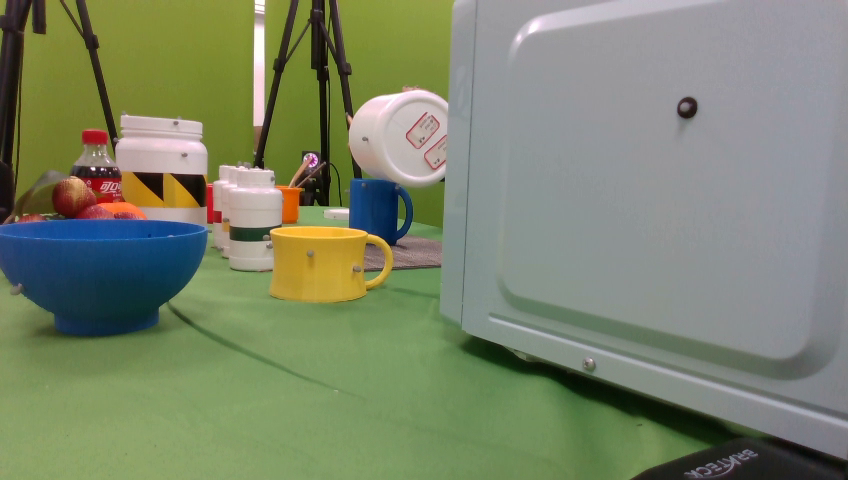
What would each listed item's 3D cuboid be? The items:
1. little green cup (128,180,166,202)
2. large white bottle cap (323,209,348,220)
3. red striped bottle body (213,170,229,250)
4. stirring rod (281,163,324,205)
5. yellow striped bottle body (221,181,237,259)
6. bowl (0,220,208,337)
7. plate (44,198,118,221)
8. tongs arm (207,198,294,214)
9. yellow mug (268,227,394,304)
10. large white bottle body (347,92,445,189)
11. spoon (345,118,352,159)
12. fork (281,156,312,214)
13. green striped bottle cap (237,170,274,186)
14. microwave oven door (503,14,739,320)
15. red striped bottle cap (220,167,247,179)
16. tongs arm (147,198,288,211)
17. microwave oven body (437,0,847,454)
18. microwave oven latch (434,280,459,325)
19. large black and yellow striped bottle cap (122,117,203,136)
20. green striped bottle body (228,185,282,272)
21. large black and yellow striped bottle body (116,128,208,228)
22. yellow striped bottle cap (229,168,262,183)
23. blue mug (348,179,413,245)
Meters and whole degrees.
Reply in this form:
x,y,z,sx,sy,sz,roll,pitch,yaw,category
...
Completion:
x,y,z,sx,sy,sz,roll,pitch,yaw,category
-0.485,-0.087,1.062,0.061,0.038,0.061,-1,6,0,little green cup
-0.184,-0.062,1.450,0.115,0.018,0.115,2,8,0,large white bottle cap
-0.283,-0.047,0.909,0.063,0.119,0.063,3,14,0,red striped bottle body
-0.278,-0.105,1.293,0.176,0.006,0.014,-47,25,-18,stirring rod
-0.244,-0.035,0.823,0.063,0.120,0.063,2,8,0,yellow striped bottle body
-0.251,0.029,0.479,0.151,0.077,0.151,2,7,0,bowl
-0.617,-0.056,1.179,0.209,0.038,0.209,3,7,0,plate
-0.423,-0.084,1.473,0.050,0.026,0.386,1,6,22,tongs arm
-0.094,0.023,0.629,0.131,0.064,0.099,0,7,-22,yellow mug
-0.039,-0.149,0.895,0.131,0.130,0.184,-1,11,-22,large white bottle body
-0.127,-0.182,1.079,0.042,0.021,0.193,42,18,-29,spoon
-0.289,-0.116,1.320,0.028,0.019,0.207,0,49,25,fork
-0.205,-0.075,0.737,0.044,0.020,0.044,1,6,0,green striped bottle cap
0.218,-0.065,0.600,0.358,0.243,0.039,-4,10,-41,microwave oven door
-0.281,-0.099,0.901,0.044,0.017,0.044,-1,5,0,red striped bottle cap
-0.503,-0.090,1.513,0.028,0.028,0.389,-1,3,38,tongs arm
0.279,-0.040,0.464,0.444,0.260,0.324,-3,9,-41,microwave oven body
0.044,0.045,0.470,0.079,0.029,0.030,-2,8,-39,microwave oven latch
-0.399,-0.174,0.927,0.115,0.019,0.115,5,9,-1,large black and yellow striped bottle cap
-0.208,-0.023,0.745,0.063,0.119,0.063,2,7,0,green striped bottle body
-0.404,-0.089,0.937,0.131,0.184,0.130,3,7,0,large black and yellow striped bottle body
-0.240,-0.087,0.816,0.044,0.018,0.044,-2,5,1,yellow striped bottle cap
-0.070,-0.047,1.003,0.116,0.106,0.082,6,9,25,blue mug
